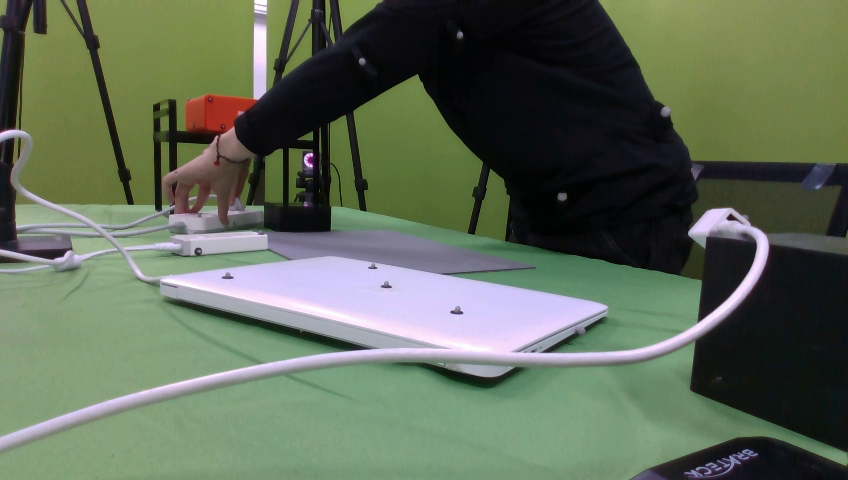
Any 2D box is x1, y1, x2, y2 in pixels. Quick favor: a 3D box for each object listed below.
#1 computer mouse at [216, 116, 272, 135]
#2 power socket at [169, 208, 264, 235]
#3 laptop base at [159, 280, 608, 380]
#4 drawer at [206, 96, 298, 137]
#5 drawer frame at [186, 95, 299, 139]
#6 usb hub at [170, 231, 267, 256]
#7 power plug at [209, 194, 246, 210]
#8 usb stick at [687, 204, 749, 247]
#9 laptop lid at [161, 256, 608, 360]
[{"bbox_3d":[-0.402,-0.257,1.353,0.118,0.041,0.062,-6,15,-34],"label":"computer mouse"},{"bbox_3d":[-0.381,-0.038,1.129,0.072,0.032,0.227,4,8,15],"label":"power socket"},{"bbox_3d":[-0.039,0.059,0.556,0.352,0.023,0.237,8,7,33],"label":"laptop base"},{"bbox_3d":[-0.413,-0.275,1.376,0.195,0.073,0.210,-3,8,-31],"label":"drawer"},{"bbox_3d":[-0.417,-0.277,1.378,0.203,0.082,0.212,-3,8,-32],"label":"drawer frame"},{"bbox_3d":[-0.291,0.005,0.863,0.049,0.025,0.126,10,11,42],"label":"usb hub"},{"bbox_3d":[-0.389,-0.066,1.207,0.072,0.052,0.035,2,8,28],"label":"power plug"},{"bbox_3d":[0.214,-0.010,0.448,0.021,0.027,0.059,39,2,6],"label":"usb stick"},{"bbox_3d":[-0.037,0.046,0.556,0.355,0.013,0.243,8,7,35],"label":"laptop lid"}]
